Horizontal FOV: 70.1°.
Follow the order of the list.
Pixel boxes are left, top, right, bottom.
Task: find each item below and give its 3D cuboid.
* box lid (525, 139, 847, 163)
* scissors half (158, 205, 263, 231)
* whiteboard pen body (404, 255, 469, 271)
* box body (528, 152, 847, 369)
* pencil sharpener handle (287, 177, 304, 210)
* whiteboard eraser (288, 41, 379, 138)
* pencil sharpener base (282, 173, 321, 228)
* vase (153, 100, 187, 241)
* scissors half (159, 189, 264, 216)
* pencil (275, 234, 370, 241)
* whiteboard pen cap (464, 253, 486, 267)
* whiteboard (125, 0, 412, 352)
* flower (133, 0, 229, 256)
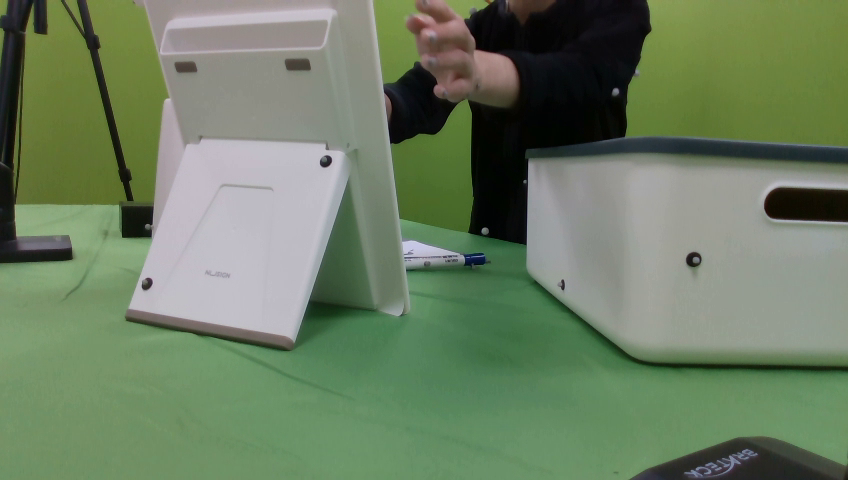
[{"bbox_3d":[0.261,-0.078,0.580,0.264,0.015,0.371,2,7,-4],"label":"box lid"},{"bbox_3d":[-0.371,-0.042,1.062,0.176,0.040,0.012,8,5,-28],"label":"scissors half"},{"bbox_3d":[0.013,0.030,0.792,0.141,0.017,0.017,-3,9,-24],"label":"whiteboard pen body"},{"bbox_3d":[0.258,-0.005,0.591,0.254,0.160,0.363,2,7,-4],"label":"box body"},{"bbox_3d":[-0.269,-0.096,1.257,0.036,0.067,0.030,-8,8,-27],"label":"pencil sharpener handle"},{"bbox_3d":[-0.091,-0.141,0.592,0.056,0.042,0.112,29,-30,-18],"label":"whiteboard eraser"},{"bbox_3d":[-0.247,-0.080,1.212,0.061,0.107,0.076,-2,5,-28],"label":"pencil sharpener base"},{"bbox_3d":[-0.278,-0.066,0.736,0.098,0.200,0.098,2,8,0],"label":"vase"},{"bbox_3d":[-0.370,-0.062,1.059,0.176,0.040,0.013,-11,8,-26],"label":"scissors half"},{"bbox_3d":[-0.169,-0.005,1.036,0.195,0.012,0.012,-1,8,-45],"label":"pencil"},{"bbox_3d":[0.066,0.027,0.818,0.033,0.018,0.018,-6,10,-23],"label":"whiteboard pen cap"},{"bbox_3d":[-0.151,-0.049,0.471,0.216,0.305,0.144,6,27,24],"label":"whiteboard"},{"bbox_3d":[-0.282,-0.146,0.713,0.038,0.362,0.044,-23,23,-31],"label":"flower"}]
